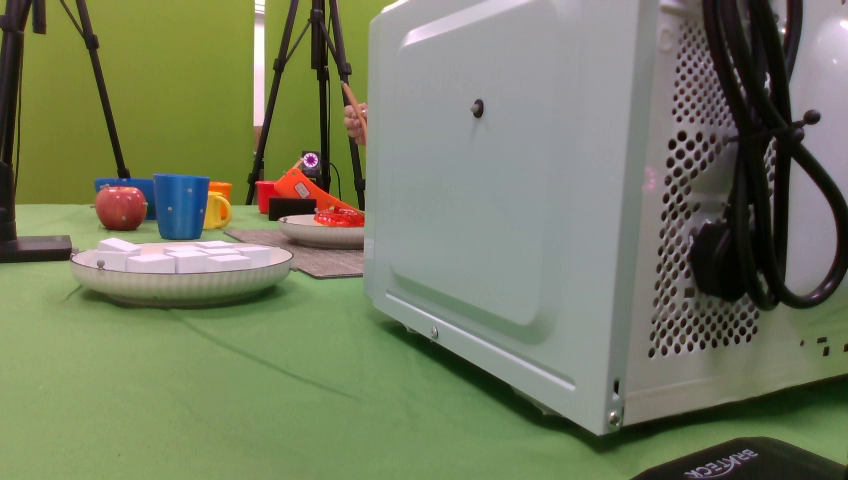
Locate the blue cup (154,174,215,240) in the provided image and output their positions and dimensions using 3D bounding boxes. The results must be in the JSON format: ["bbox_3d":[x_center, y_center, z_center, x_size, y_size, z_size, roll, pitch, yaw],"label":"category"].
[{"bbox_3d":[-0.391,-0.053,0.978,0.093,0.100,0.092,4,6,0],"label":"blue cup"}]

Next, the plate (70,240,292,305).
[{"bbox_3d":[-0.242,0.031,0.618,0.208,0.039,0.207,2,8,0],"label":"plate"}]

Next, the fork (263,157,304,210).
[{"bbox_3d":[-0.345,-0.143,1.505,0.028,0.019,0.207,-4,46,28],"label":"fork"}]

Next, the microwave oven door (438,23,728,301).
[{"bbox_3d":[0.181,-0.072,0.621,0.358,0.243,0.039,-2,8,-29],"label":"microwave oven door"}]

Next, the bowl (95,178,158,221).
[{"bbox_3d":[-0.576,-0.081,1.217,0.151,0.077,0.151,3,8,0],"label":"bowl"}]

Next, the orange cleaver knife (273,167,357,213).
[{"bbox_3d":[-0.238,-0.091,1.381,0.212,0.077,0.012,31,0,-19],"label":"orange cleaver knife"}]

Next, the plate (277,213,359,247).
[{"bbox_3d":[-0.134,-0.017,0.992,0.209,0.038,0.209,2,7,0],"label":"plate"}]

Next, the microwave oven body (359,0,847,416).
[{"bbox_3d":[0.211,-0.047,0.474,0.444,0.260,0.324,-1,7,-28],"label":"microwave oven body"}]

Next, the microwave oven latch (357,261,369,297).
[{"bbox_3d":[-0.019,0.033,0.531,0.079,0.029,0.030,-1,7,-26],"label":"microwave oven latch"}]

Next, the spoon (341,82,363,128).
[{"bbox_3d":[-0.101,-0.185,1.008,0.021,0.193,0.042,-29,-19,28],"label":"spoon"}]

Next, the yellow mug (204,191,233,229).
[{"bbox_3d":[-0.415,-0.057,1.131,0.130,0.064,0.100,6,7,16],"label":"yellow mug"}]

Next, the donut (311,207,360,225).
[{"bbox_3d":[-0.137,-0.029,0.995,0.099,0.048,0.099,4,8,0],"label":"donut"}]

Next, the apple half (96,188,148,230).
[{"bbox_3d":[-0.517,-0.052,1.036,0.081,0.074,0.053,3,10,-26],"label":"apple half"}]

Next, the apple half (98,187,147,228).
[{"bbox_3d":[-0.534,-0.059,1.071,0.082,0.081,0.032,-1,11,-25],"label":"apple half"}]

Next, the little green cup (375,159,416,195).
[{"bbox_3d":[-0.043,-0.100,0.975,0.061,0.038,0.061,-25,-2,-1],"label":"little green cup"}]
